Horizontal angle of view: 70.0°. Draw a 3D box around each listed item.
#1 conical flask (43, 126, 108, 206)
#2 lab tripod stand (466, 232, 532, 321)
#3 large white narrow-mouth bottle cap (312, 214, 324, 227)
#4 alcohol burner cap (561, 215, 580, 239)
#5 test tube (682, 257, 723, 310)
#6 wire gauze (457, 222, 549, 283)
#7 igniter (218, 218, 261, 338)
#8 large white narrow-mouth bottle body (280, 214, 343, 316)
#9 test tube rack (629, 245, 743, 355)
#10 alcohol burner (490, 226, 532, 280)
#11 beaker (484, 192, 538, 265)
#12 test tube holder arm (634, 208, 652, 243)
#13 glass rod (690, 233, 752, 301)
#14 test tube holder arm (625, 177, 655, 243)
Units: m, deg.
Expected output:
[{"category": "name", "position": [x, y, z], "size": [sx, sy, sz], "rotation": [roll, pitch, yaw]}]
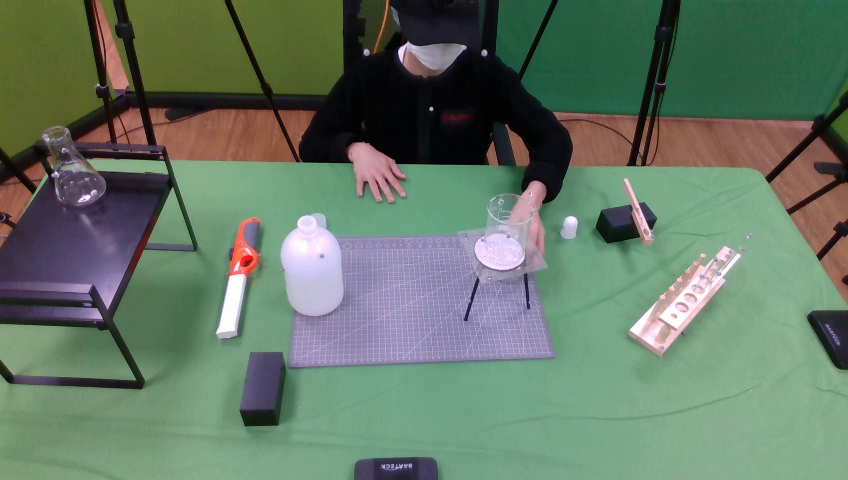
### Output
[{"category": "conical flask", "position": [-0.555, -0.119, 0.953], "size": [0.075, 0.122, 0.075], "rotation": [2, 46, -2]}, {"category": "lab tripod stand", "position": [0.125, 0.060, 1.065], "size": [0.148, 0.132, 0.147], "rotation": [1, 45, 0]}, {"category": "large white narrow-mouth bottle cap", "position": [-0.219, -0.033, 1.214], "size": [0.038, 0.024, 0.037], "rotation": [2, 46, -2]}, {"category": "alcohol burner cap", "position": [0.299, -0.030, 1.230], "size": [0.034, 0.048, 0.033], "rotation": [1, 46, 0]}, {"category": "test tube", "position": [0.475, 0.080, 1.037], "size": [0.017, 0.151, 0.017], "rotation": [1, 51, -1]}, {"category": "wire gauze", "position": [0.131, 0.016, 1.017], "size": [0.121, 0.011, 0.124], "rotation": [-10, 44, -16]}, {"category": "igniter", "position": [-0.336, 0.060, 1.111], "size": [0.057, 0.025, 0.274], "rotation": [-7, 46, 4]}, {"category": "large white narrow-mouth bottle body", "position": [-0.190, 0.035, 1.025], "size": [0.102, 0.195, 0.101], "rotation": [2, 46, -2]}, {"category": "test tube rack", "position": [0.474, 0.095, 1.091], "size": [0.242, 0.085, 0.066], "rotation": [-34, 56, -31]}, {"category": "alcohol burner", "position": [0.162, 0.019, 1.120], "size": [0.078, 0.120, 0.077], "rotation": [0, 48, 0]}, {"category": "beaker", "position": [0.137, -0.016, 0.980], "size": [0.084, 0.101, 0.073], "rotation": [-6, 45, -9]}, {"category": "test tube holder arm", "position": [0.428, -0.030, 1.189], "size": [0.010, 0.015, 0.087], "rotation": [2, 47, -3]}, {"category": "glass rod", "position": [0.507, 0.053, 1.041], "size": [0.008, 0.200, 0.008], "rotation": [5, 51, -6]}, {"category": "test tube holder arm", "position": [0.433, -0.062, 1.220], "size": [0.013, 0.015, 0.177], "rotation": [2, 47, -3]}]
